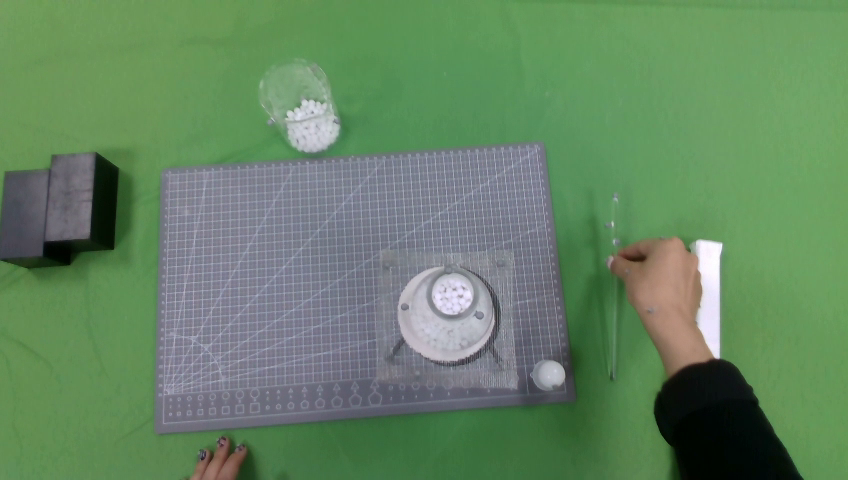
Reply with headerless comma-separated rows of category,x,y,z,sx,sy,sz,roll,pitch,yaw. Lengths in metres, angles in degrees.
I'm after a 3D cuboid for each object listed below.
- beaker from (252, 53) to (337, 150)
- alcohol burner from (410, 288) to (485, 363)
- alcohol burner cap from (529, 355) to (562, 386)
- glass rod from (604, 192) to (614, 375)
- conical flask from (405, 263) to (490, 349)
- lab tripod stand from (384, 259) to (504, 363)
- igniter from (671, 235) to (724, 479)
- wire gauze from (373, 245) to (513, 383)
beaker,-0.136,-0.148,0.676,0.084,0.100,0.074,31,80,7
alcohol burner,0.023,0.084,0.611,0.078,0.119,0.077,-1,77,3
alcohol burner cap,0.129,0.136,0.634,0.034,0.048,0.033,0,77,2
glass rod,0.201,0.046,0.658,0.008,0.008,0.199,2,86,1
conical flask,0.020,0.047,0.481,0.075,0.122,0.075,0,79,1
lab tripod stand,0.021,0.081,0.601,0.148,0.132,0.147,0,79,1
igniter,0.291,0.131,0.644,0.057,0.025,0.275,9,77,-8
wire gauze,0.018,0.064,0.538,0.125,0.011,0.121,2,80,-1
